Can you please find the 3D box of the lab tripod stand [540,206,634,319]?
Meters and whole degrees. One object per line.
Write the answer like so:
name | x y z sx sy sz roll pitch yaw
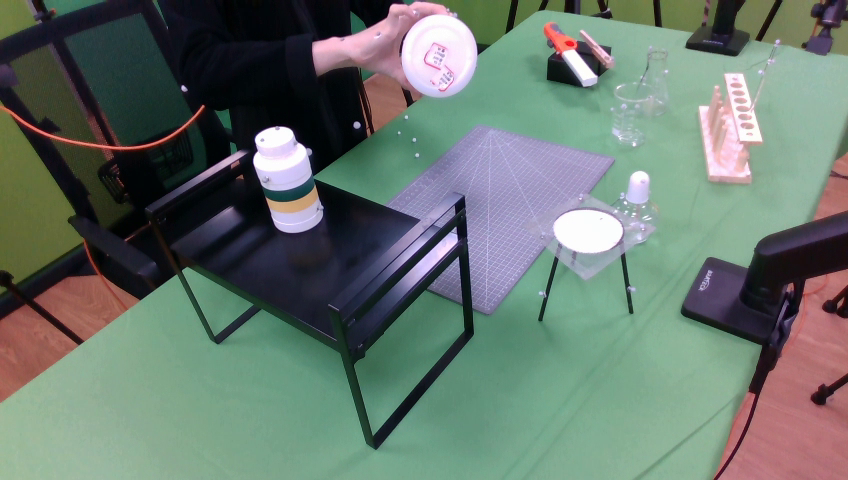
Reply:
lab tripod stand | 0.218 0.034 0.821 0.148 0.132 0.147 -4 42 4

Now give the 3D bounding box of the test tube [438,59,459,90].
test tube | 0.043 -0.281 1.033 0.017 0.017 0.150 2 0 11

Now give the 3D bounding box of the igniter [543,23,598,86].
igniter | 0.320 -0.419 1.345 0.057 0.025 0.274 -12 44 -3

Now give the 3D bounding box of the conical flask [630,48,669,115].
conical flask | 0.456 -0.317 1.205 0.075 0.122 0.075 -4 41 4

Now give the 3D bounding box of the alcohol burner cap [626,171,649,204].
alcohol burner cap | 0.320 -0.081 0.900 0.034 0.048 0.033 -4 42 4

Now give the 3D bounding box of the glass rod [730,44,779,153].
glass rod | 0.555 -0.234 1.021 0.008 0.200 0.008 2 40 -1

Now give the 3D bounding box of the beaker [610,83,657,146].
beaker | 0.388 -0.235 1.138 0.074 0.101 0.083 -31 45 -25

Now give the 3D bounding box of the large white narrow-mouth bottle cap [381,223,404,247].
large white narrow-mouth bottle cap | -0.052 -0.009 0.992 0.038 0.024 0.037 -5 39 4

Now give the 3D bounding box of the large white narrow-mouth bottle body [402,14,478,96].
large white narrow-mouth bottle body | 0.023 -0.263 0.866 0.102 0.102 0.194 -5 16 3

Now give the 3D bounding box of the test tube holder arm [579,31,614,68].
test tube holder arm | 0.384 -0.428 1.351 0.013 0.015 0.177 -10 41 -4

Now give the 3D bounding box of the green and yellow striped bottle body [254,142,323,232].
green and yellow striped bottle body | -0.165 -0.073 0.732 0.063 0.120 0.063 -4 41 4

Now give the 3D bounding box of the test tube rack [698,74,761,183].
test tube rack | 0.547 -0.208 1.095 0.066 0.085 0.242 5 42 15

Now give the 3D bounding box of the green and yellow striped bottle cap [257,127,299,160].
green and yellow striped bottle cap | -0.169 -0.112 0.698 0.045 0.020 0.045 -5 40 5

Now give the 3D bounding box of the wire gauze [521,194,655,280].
wire gauze | 0.207 -0.012 0.772 0.122 0.011 0.124 -28 44 -20

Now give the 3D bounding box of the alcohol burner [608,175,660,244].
alcohol burner | 0.322 -0.053 0.924 0.078 0.119 0.077 -4 43 4

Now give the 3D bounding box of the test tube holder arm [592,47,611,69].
test tube holder arm | 0.386 -0.398 1.317 0.010 0.015 0.087 -10 41 -3
